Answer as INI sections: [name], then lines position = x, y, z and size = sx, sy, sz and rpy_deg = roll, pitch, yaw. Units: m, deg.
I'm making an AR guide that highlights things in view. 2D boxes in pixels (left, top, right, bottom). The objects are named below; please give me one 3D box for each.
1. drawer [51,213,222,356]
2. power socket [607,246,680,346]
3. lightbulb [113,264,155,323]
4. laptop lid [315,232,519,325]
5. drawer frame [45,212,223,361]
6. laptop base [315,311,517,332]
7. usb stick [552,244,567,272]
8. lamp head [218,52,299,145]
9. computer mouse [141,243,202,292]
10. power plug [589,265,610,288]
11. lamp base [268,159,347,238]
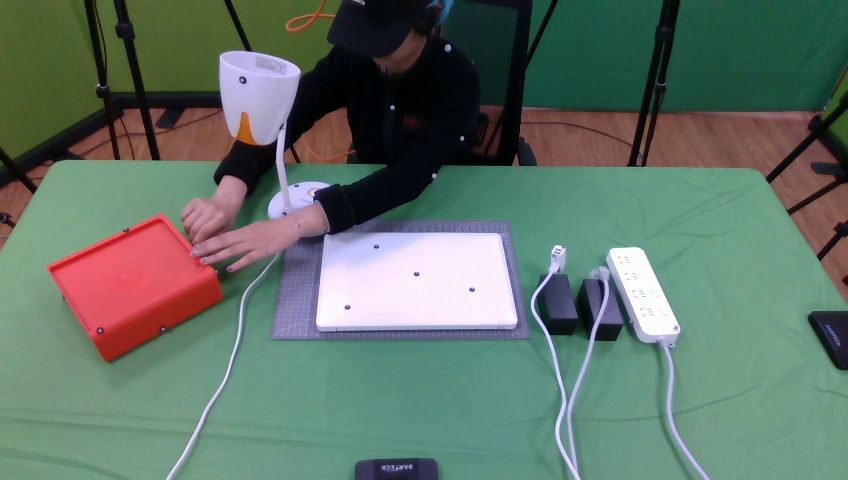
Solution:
[drawer]
position = -0.495, 0.071, 1.053
size = 0.212, 0.073, 0.193
rpy_deg = -32, 57, -29
[power socket]
position = 0.403, 0.096, 1.123
size = 0.072, 0.033, 0.225
rpy_deg = -2, 46, -5
[lightbulb]
position = -0.494, 0.090, 1.045
size = 0.059, 0.060, 0.107
rpy_deg = 9, 62, 5
[laptop lid]
position = -0.015, 0.065, 1.118
size = 0.357, 0.013, 0.240
rpy_deg = 1, 43, -3
[drawer frame]
position = -0.496, 0.072, 1.049
size = 0.213, 0.083, 0.200
rpy_deg = -33, 56, -29
[laptop base]
position = -0.016, 0.075, 1.125
size = 0.355, 0.023, 0.234
rpy_deg = 0, 42, -4
[usb stick]
position = 0.251, 0.039, 1.123
size = 0.021, 0.059, 0.027
rpy_deg = 14, 47, 24
[lamp head]
position = -0.246, -0.205, 0.890
size = 0.112, 0.123, 0.112
rpy_deg = 11, 33, -7
[computer mouse]
position = -0.460, 0.044, 1.099
size = 0.116, 0.041, 0.063
rpy_deg = 30, 52, 29
[power plug]
position = 0.317, 0.073, 1.108
size = 0.035, 0.053, 0.072
rpy_deg = 26, 33, 13
[lamp base]
position = -0.240, -0.111, 1.175
size = 0.160, 0.181, 0.178
rpy_deg = 12, 48, 11
